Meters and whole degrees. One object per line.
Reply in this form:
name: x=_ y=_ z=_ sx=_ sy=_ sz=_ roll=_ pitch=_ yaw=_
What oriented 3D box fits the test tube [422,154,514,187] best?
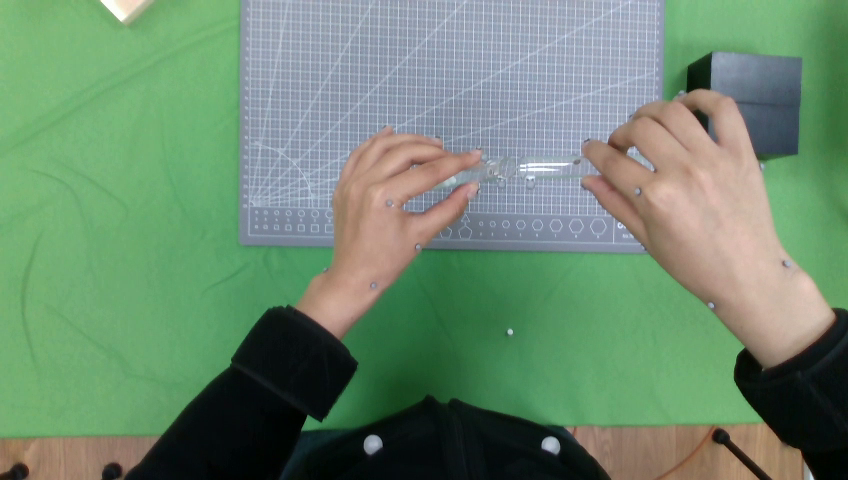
test tube: x=0.031 y=-0.055 z=0.494 sx=0.017 sy=0.149 sz=0.017 roll=-1 pitch=92 yaw=-21

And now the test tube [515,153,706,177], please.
test tube: x=0.136 y=-0.054 z=0.432 sx=0.151 sy=0.017 sz=0.017 roll=-3 pitch=91 yaw=-16

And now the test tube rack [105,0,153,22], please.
test tube rack: x=-0.233 y=-0.328 z=0.577 sx=0.242 sy=0.085 sz=0.067 roll=-44 pitch=93 yaw=-3
